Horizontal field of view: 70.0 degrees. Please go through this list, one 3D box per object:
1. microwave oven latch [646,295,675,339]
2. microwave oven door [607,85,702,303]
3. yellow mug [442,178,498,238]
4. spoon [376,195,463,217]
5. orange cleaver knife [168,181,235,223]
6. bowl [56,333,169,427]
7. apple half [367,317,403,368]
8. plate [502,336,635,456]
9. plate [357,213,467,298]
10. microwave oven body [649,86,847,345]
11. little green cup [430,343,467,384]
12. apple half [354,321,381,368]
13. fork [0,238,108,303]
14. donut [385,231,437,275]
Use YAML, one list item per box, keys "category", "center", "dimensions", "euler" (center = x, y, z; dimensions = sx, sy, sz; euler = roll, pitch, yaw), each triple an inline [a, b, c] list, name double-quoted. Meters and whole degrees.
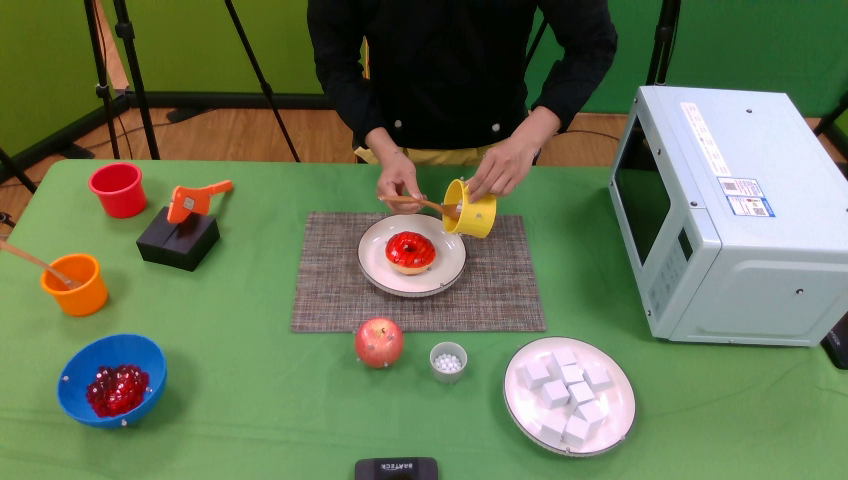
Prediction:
- category: "microwave oven latch"
  center: [0.412, 0.134, 1.061]
  dimensions: [0.030, 0.029, 0.078]
  euler: [4, 45, 1]
- category: "microwave oven door"
  center: [0.423, -0.094, 1.141]
  dimensions: [0.039, 0.245, 0.353]
  euler: [2, 46, -1]
- category: "yellow mug"
  center: [0.086, -0.066, 1.079]
  dimensions: [0.064, 0.131, 0.099]
  euler: [7, 52, -20]
- category: "spoon"
  center: [0.000, -0.064, 1.066]
  dimensions: [0.194, 0.022, 0.041]
  euler: [10, 33, -37]
- category: "orange cleaver knife"
  center: [-0.436, -0.078, 1.196]
  dimensions: [0.012, 0.077, 0.211]
  euler: [16, 15, 10]
- category: "bowl"
  center: [-0.456, 0.223, 0.911]
  dimensions: [0.151, 0.077, 0.150]
  euler: [3, 46, -2]
- category: "apple half"
  center: [-0.061, 0.167, 0.998]
  dimensions: [0.053, 0.075, 0.080]
  euler: [-11, 44, -20]
- category: "plate"
  center: [0.225, 0.248, 0.963]
  dimensions: [0.208, 0.039, 0.206]
  euler: [2, 46, -2]
- category: "plate"
  center: [-0.023, 0.032, 1.149]
  dimensions: [0.209, 0.038, 0.208]
  euler: [2, 46, -2]
- category: "microwave oven body"
  center: [0.568, -0.053, 1.118]
  dimensions: [0.326, 0.261, 0.439]
  euler: [2, 45, -1]
- category: "little green cup"
  center: [0.039, 0.203, 0.993]
  dimensions: [0.061, 0.039, 0.061]
  euler: [2, 46, -2]
- category: "apple half"
  center: [-0.097, 0.176, 0.985]
  dimensions: [0.033, 0.081, 0.080]
  euler: [-12, 48, -20]
- category: "fork"
  center: [-0.633, 0.048, 1.017]
  dimensions: [0.208, 0.018, 0.028]
  euler: [40, 41, -27]
- category: "donut"
  center: [-0.025, 0.024, 1.142]
  dimensions: [0.099, 0.048, 0.098]
  euler: [3, 44, -3]
